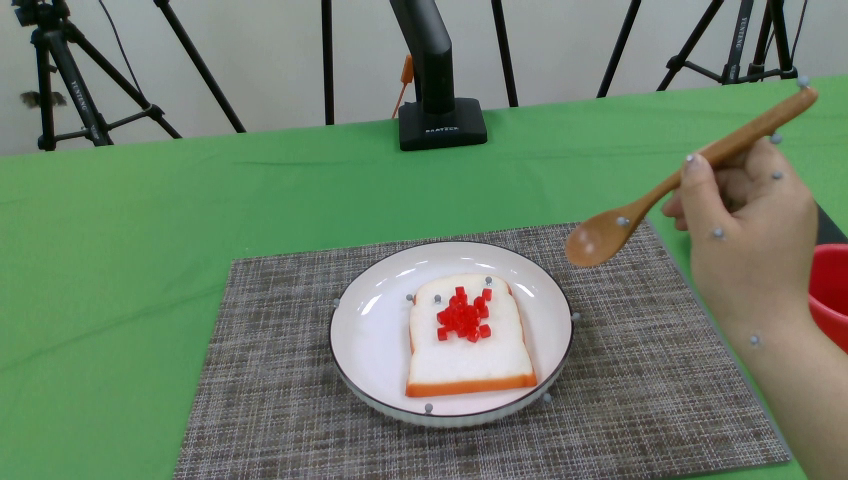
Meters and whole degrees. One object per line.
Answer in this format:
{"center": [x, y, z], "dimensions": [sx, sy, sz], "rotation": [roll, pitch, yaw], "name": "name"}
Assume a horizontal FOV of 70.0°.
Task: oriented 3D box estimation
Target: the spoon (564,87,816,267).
{"center": [0.158, -0.033, 0.391], "dimensions": [0.022, 0.194, 0.041], "rotation": [15, 56, -21], "name": "spoon"}

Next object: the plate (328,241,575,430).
{"center": [0.023, 0.079, 0.527], "dimensions": [0.209, 0.038, 0.207], "rotation": [-4, 39, 3], "name": "plate"}

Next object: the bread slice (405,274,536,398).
{"center": [0.035, 0.078, 0.528], "dimensions": [0.105, 0.019, 0.130], "rotation": [-5, 39, 1], "name": "bread slice"}
